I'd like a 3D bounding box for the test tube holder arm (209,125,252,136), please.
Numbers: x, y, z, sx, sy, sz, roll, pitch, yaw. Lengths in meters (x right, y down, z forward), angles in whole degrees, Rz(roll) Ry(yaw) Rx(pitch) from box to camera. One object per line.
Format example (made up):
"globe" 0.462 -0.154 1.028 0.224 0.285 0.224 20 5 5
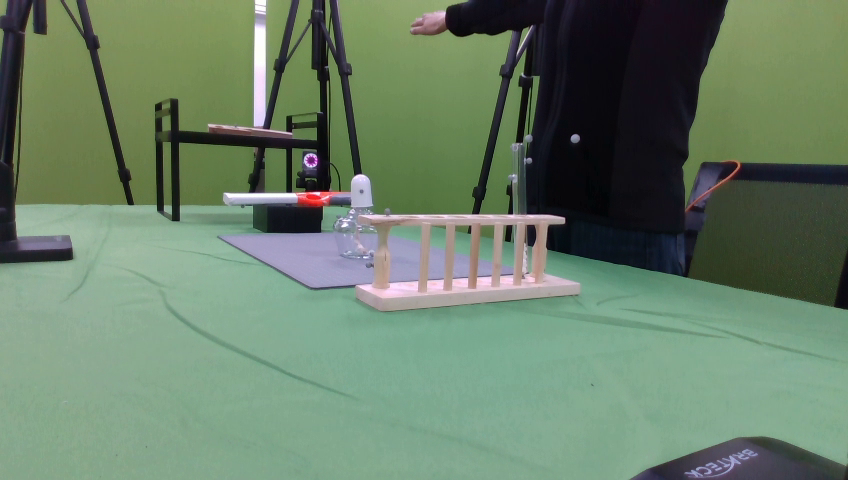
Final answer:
"test tube holder arm" -0.419 -0.236 1.308 0.088 0.015 0.010 1 41 -28

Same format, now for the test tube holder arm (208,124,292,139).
"test tube holder arm" -0.381 -0.239 1.334 0.179 0.015 0.013 0 41 -29

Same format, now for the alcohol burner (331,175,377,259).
"alcohol burner" -0.091 -0.033 0.855 0.078 0.119 0.078 4 7 0

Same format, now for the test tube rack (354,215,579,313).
"test tube rack" 0.053 0.019 0.635 0.243 0.085 0.066 -1 8 -29

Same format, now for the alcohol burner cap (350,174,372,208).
"alcohol burner cap" -0.090 -0.068 0.850 0.034 0.048 0.034 -3 9 1

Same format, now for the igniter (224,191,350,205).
"igniter" -0.237 -0.079 1.157 0.278 0.025 0.057 -2 21 -32

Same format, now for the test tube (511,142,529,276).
"test tube" 0.108 -0.034 0.678 0.017 0.150 0.017 -3 7 1
